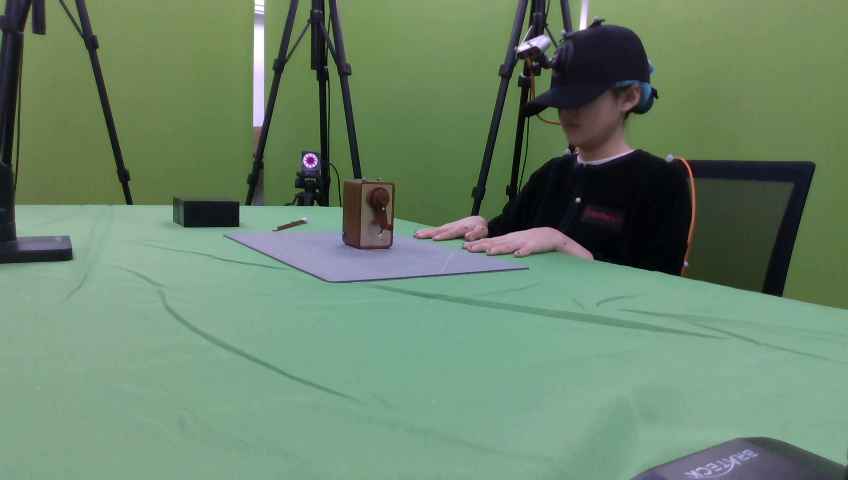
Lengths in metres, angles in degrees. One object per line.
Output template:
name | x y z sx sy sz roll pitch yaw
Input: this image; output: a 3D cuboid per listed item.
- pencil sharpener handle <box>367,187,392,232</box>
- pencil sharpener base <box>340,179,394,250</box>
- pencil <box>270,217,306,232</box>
pencil sharpener handle | -0.062 -0.046 0.915 0.036 0.068 0.030 -13 15 -28
pencil sharpener base | -0.090 -0.041 0.959 0.061 0.107 0.076 -1 9 -30
pencil | -0.271 -0.031 1.212 0.012 0.012 0.194 4 9 7
